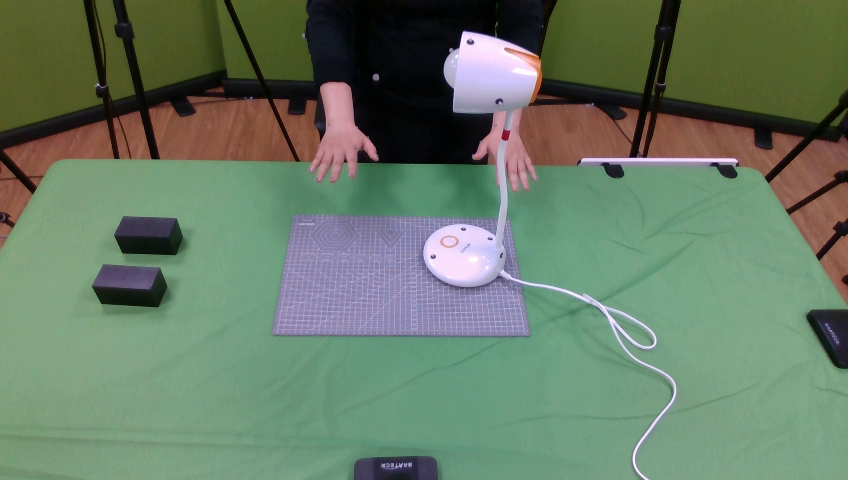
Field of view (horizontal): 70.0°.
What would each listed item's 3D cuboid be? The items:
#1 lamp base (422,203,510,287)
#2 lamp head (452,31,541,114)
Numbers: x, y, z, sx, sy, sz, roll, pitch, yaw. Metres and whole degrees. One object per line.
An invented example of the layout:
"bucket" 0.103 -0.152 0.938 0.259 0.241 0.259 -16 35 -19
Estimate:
"lamp base" 0.092 -0.021 1.111 0.179 0.181 0.160 23 49 14
"lamp head" 0.102 -0.228 0.858 0.123 0.113 0.112 11 46 0
